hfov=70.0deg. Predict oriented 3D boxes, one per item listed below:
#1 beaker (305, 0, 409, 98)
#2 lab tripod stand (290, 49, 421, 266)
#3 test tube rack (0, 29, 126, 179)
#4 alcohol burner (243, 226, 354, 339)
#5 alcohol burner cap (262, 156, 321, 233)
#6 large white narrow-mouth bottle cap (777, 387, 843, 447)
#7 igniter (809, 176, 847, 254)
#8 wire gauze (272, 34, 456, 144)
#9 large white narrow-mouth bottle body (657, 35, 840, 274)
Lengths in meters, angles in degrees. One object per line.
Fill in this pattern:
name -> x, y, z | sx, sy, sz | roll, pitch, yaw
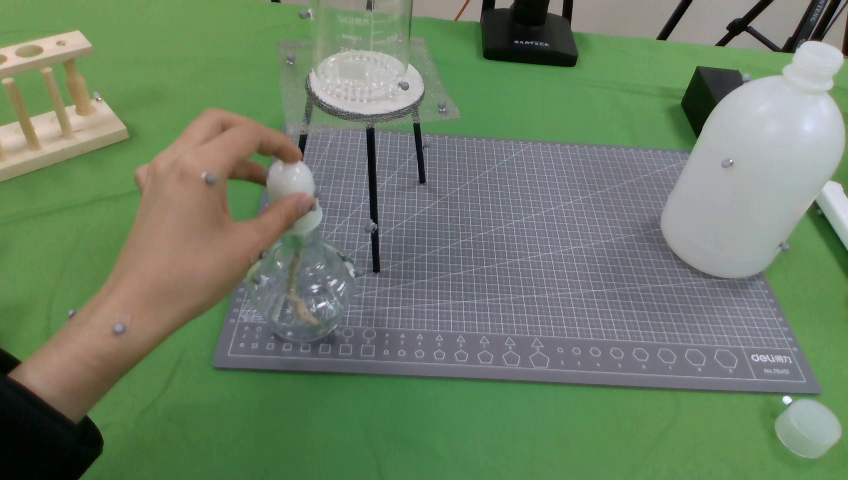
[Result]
beaker -> -0.049, -0.158, 0.420 | 0.084, 0.101, 0.073 | -1, 48, -8
lab tripod stand -> -0.050, -0.073, 0.499 | 0.148, 0.132, 0.147 | 5, 47, -5
test tube rack -> -0.400, -0.098, 0.518 | 0.242, 0.086, 0.066 | -29, 56, -30
alcohol burner -> -0.088, 0.015, 0.423 | 0.078, 0.120, 0.077 | 5, 45, -5
alcohol burner cap -> -0.084, -0.030, 0.377 | 0.034, 0.048, 0.033 | 0, 52, 0
large white narrow-mouth bottle cap -> 0.272, 0.126, 0.429 | 0.038, 0.024, 0.037 | 3, 46, -3
igniter -> 0.399, 0.038, 0.524 | 0.057, 0.025, 0.274 | 12, 45, -10
wire gauze -> -0.049, -0.121, 0.454 | 0.122, 0.011, 0.123 | -8, 51, -12
large white narrow-mouth bottle body -> 0.267, -0.068, 0.490 | 0.102, 0.196, 0.101 | 3, 46, -2
